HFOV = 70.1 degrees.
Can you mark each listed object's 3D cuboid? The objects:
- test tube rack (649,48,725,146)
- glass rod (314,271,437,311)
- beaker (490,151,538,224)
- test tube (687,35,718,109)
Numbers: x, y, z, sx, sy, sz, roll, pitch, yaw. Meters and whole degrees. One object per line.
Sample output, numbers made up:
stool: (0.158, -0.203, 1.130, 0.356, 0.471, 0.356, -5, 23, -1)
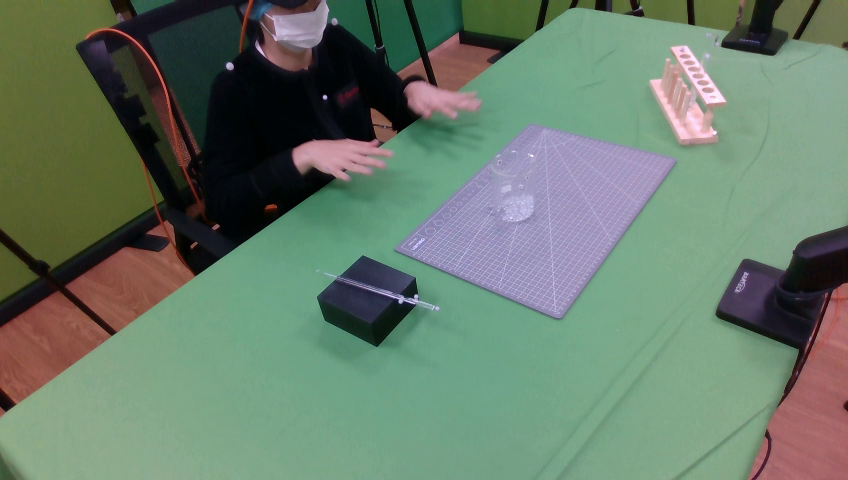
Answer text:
test tube rack: (0.508, -0.285, 1.186, 0.067, 0.085, 0.241, -4, 40, 6)
glass rod: (-0.072, 0.068, 0.836, 0.198, 0.008, 0.008, 14, 44, 24)
beaker: (0.151, -0.084, 0.988, 0.084, 0.101, 0.073, -24, 43, -20)
test tube: (0.521, -0.313, 1.137, 0.017, 0.151, 0.017, 0, 44, 0)
